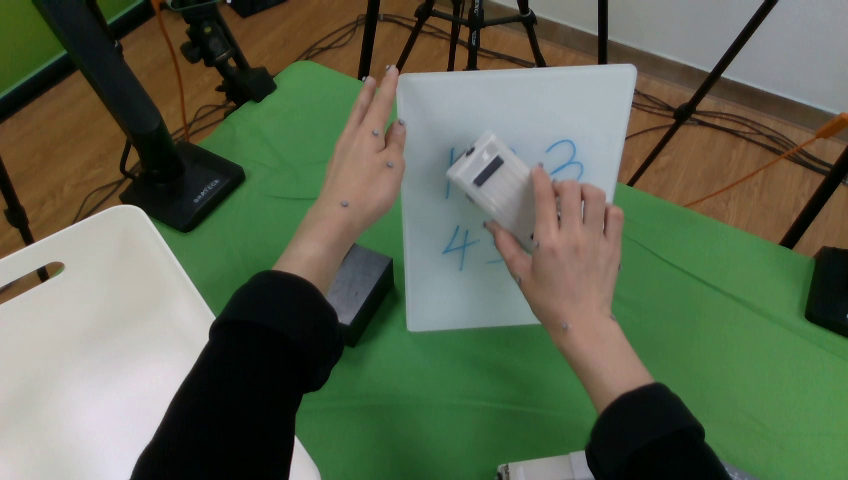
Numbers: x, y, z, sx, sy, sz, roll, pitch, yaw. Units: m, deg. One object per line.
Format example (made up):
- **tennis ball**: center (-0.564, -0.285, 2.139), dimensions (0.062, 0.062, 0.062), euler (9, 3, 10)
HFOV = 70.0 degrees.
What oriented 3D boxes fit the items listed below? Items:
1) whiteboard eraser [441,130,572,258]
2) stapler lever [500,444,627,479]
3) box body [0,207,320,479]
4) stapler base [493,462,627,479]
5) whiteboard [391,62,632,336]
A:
- **whiteboard eraser**: center (0.072, -0.039, 0.525), dimensions (0.113, 0.041, 0.055), euler (41, 93, -18)
- **stapler lever**: center (0.132, 0.215, 0.573), dimensions (0.118, 0.040, 0.026), euler (-5, 51, -2)
- **box body**: center (-0.278, 0.179, 0.534), dimensions (0.254, 0.162, 0.360), euler (-33, 61, -23)
- **stapler base**: center (0.135, 0.230, 0.593), dimensions (0.130, 0.024, 0.041), euler (-5, 51, -2)
- **whiteboard**: center (0.077, -0.061, 0.670), dimensions (0.217, 0.308, 0.142), euler (-3, 34, -3)
